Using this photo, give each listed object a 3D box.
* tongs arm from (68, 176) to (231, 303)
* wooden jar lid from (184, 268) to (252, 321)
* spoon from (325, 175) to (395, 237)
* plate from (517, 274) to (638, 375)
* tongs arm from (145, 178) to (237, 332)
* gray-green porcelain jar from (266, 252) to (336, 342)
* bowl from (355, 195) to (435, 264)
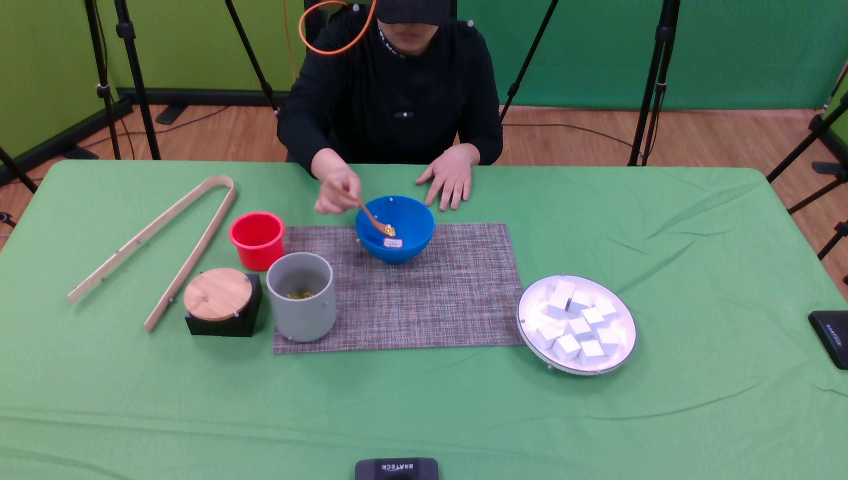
[{"bbox_3d":[-0.510,-0.010,1.162,0.050,0.026,0.383,20,47,14],"label":"tongs arm"},{"bbox_3d":[-0.343,0.092,1.015,0.108,0.021,0.107,3,46,-3],"label":"wooden jar lid"},{"bbox_3d":[-0.113,-0.060,1.094,0.021,0.195,0.041,-38,41,4],"label":"spoon"},{"bbox_3d":[0.264,0.149,1.060,0.209,0.038,0.208,3,46,-3],"label":"plate"},{"bbox_3d":[-0.432,0.014,1.149,0.028,0.028,0.385,8,46,7],"label":"tongs arm"},{"bbox_3d":[-0.202,0.100,1.009,0.106,0.127,0.105,2,46,-2],"label":"gray-green porcelain jar"},{"bbox_3d":[-0.056,-0.008,1.158,0.151,0.077,0.150,2,46,-2],"label":"bowl"}]
